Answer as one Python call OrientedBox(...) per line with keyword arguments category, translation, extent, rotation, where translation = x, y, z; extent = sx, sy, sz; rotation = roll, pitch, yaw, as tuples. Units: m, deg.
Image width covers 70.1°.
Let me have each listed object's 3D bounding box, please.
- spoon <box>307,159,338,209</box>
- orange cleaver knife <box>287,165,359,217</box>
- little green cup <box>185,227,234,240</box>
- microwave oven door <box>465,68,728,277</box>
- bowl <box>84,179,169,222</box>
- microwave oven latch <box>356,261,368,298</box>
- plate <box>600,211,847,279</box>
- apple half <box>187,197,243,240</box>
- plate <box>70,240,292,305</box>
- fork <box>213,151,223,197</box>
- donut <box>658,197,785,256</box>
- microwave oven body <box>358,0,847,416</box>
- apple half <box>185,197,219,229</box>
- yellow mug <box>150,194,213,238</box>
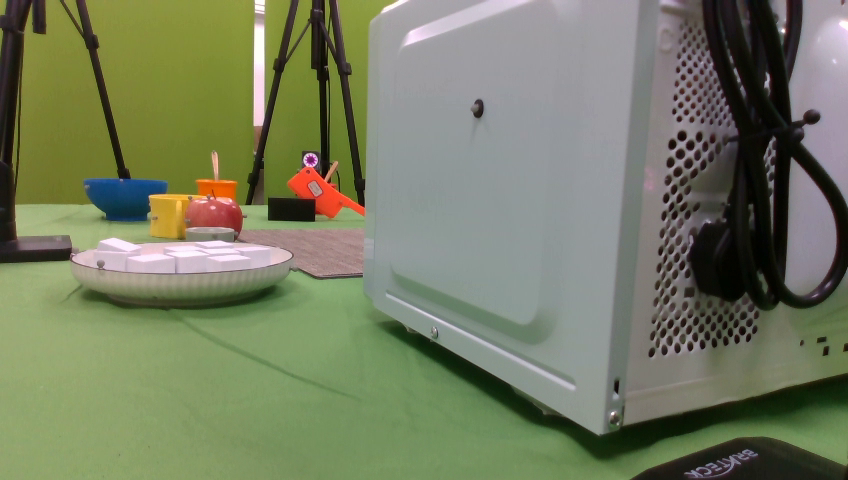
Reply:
OrientedBox(category="spoon", translation=(-0.257, -0.147, 1.567), extent=(0.041, 0.022, 0.193), rotation=(1, 50, 20))
OrientedBox(category="orange cleaver knife", translation=(-0.211, -0.092, 1.382), extent=(0.212, 0.077, 0.012), rotation=(34, 1, -15))
OrientedBox(category="little green cup", translation=(-0.285, 0.005, 0.805), extent=(0.061, 0.038, 0.061), rotation=(2, 8, 0))
OrientedBox(category="microwave oven door", translation=(0.207, -0.096, 0.814), extent=(0.354, 0.243, 0.039), rotation=(9, 11, 42))
OrientedBox(category="bowl", translation=(-0.584, -0.078, 1.194), extent=(0.151, 0.077, 0.151), rotation=(3, 8, 0))
OrientedBox(category="microwave oven latch", translation=(-0.020, 0.033, 0.530), extent=(0.079, 0.029, 0.030), rotation=(0, 7, -26))
OrientedBox(category="plate", translation=(0.257, 0.002, 0.519), extent=(0.209, 0.038, 0.209), rotation=(3, 7, 0))
OrientedBox(category="apple half", translation=(-0.305, -0.026, 0.907), extent=(0.053, 0.074, 0.081), rotation=(12, 8, 31))
OrientedBox(category="plate", translation=(-0.242, 0.031, 0.618), extent=(0.208, 0.039, 0.207), rotation=(2, 8, 0))
OrientedBox(category="fork", translation=(-0.493, -0.143, 1.442), extent=(0.028, 0.018, 0.206), rotation=(-3, 52, -18))
OrientedBox(category="donut", translation=(0.252, -0.011, 0.518), extent=(0.099, 0.048, 0.099), rotation=(4, 6, 0))
OrientedBox(category="microwave oven body", translation=(0.210, -0.047, 0.475), extent=(0.444, 0.260, 0.324), rotation=(-1, 7, -28))
OrientedBox(category="apple half", translation=(-0.338, -0.031, 0.927), extent=(0.032, 0.081, 0.081), rotation=(12, 12, 31))
OrientedBox(category="yellow mug", translation=(-0.401, -0.040, 1.003), extent=(0.100, 0.064, 0.130), rotation=(-1, 9, -20))
